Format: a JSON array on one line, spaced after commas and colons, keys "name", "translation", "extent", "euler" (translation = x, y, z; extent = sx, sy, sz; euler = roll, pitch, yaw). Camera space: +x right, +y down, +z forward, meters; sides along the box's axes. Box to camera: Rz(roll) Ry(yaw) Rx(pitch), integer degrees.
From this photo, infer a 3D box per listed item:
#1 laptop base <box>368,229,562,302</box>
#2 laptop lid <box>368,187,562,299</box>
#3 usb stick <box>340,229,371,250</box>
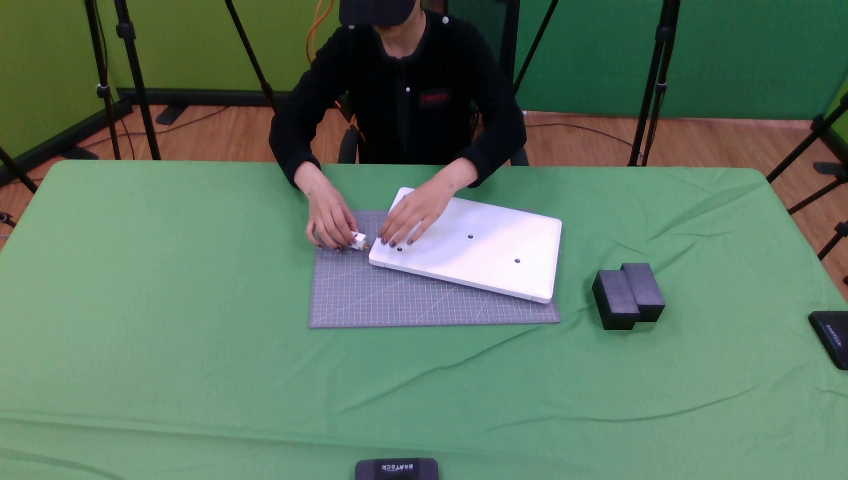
[{"name": "laptop base", "translation": [0.089, 0.005, 1.205], "extent": [0.354, 0.023, 0.234], "euler": [12, 42, 8]}, {"name": "laptop lid", "translation": [0.090, -0.005, 1.198], "extent": [0.356, 0.013, 0.240], "euler": [13, 43, 9]}, {"name": "usb stick", "translation": [-0.131, 0.001, 1.168], "extent": [0.059, 0.027, 0.021], "euler": [20, 39, 11]}]
